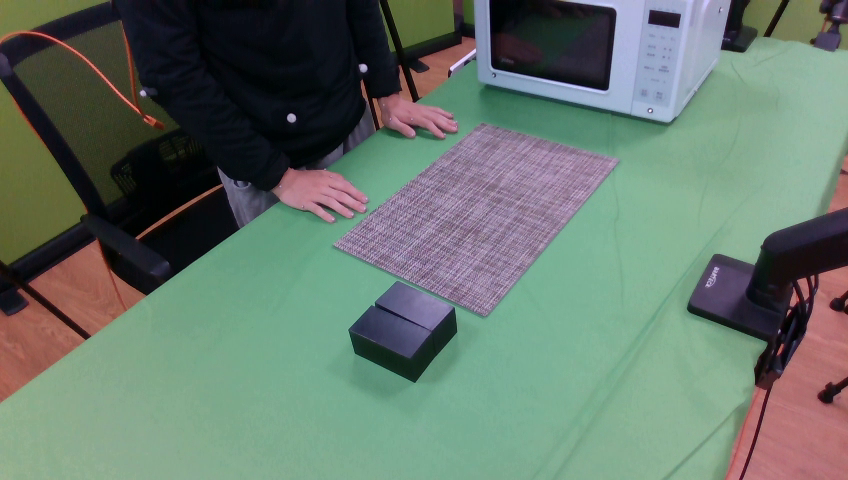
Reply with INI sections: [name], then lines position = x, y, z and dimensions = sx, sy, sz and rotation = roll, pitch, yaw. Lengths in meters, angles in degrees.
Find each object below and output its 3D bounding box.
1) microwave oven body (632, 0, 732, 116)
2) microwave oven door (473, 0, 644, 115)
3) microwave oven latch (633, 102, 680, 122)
[microwave oven body]
position = 0.377, -0.462, 1.267
dimensions = 0.438, 0.261, 0.327
rotation = 21, 48, 30
[microwave oven door]
position = 0.257, -0.396, 1.199
dimensions = 0.353, 0.245, 0.039
rotation = 21, 48, 29
[microwave oven latch]
position = 0.444, -0.249, 1.157
dimensions = 0.078, 0.029, 0.030
rotation = 21, 49, 30
